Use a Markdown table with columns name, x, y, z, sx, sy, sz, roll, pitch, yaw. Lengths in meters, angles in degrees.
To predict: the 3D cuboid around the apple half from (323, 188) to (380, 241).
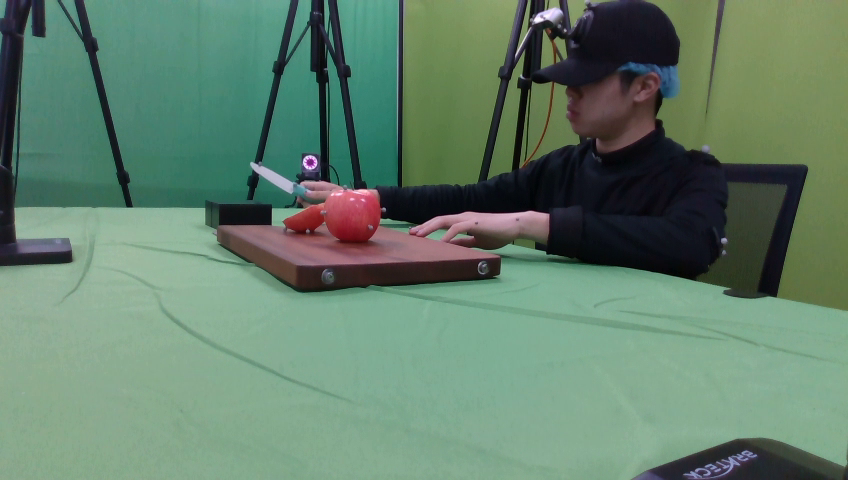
| name | x | y | z | sx | sy | sz | roll | pitch | yaw |
| --- | --- | --- | --- | --- | --- | --- | --- | --- | --- |
| apple half | -0.094 | -0.034 | 0.840 | 0.081 | 0.074 | 0.053 | 1 | 10 | -38 |

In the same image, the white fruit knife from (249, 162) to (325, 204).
| name | x | y | z | sx | sy | sz | roll | pitch | yaw |
| --- | --- | --- | --- | --- | --- | --- | --- | --- | --- |
| white fruit knife | -0.273 | -0.110 | 1.262 | 0.208 | 0.027 | 0.016 | 30 | -5 | -33 |

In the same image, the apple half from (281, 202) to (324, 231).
| name | x | y | z | sx | sy | sz | roll | pitch | yaw |
| --- | --- | --- | --- | --- | --- | --- | --- | --- | --- |
| apple half | -0.175 | -0.033 | 0.927 | 0.081 | 0.033 | 0.081 | -20 | 0 | 0 |
